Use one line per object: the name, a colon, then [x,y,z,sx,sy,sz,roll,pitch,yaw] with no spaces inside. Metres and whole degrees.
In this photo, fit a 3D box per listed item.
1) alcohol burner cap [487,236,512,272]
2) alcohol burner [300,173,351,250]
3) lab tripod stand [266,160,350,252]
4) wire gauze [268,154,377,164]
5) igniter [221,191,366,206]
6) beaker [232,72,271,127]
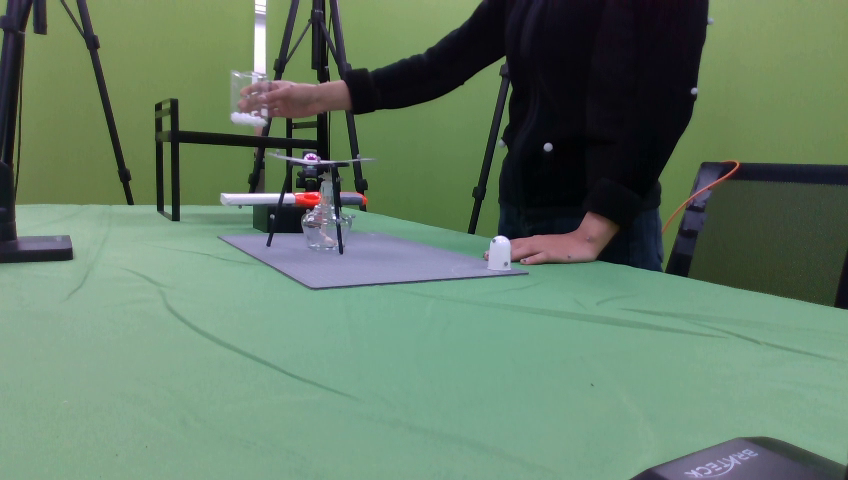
alcohol burner cap: [0.101,0.019,0.802,0.034,0.048,0.034,2,7,0]
alcohol burner: [-0.149,-0.044,0.921,0.078,0.119,0.078,4,7,0]
lab tripod stand: [-0.164,-0.054,0.915,0.148,0.131,0.148,2,9,0]
wire gauze: [-0.154,-0.120,0.910,0.122,0.011,0.124,-5,11,-44]
igniter: [-0.240,-0.079,1.150,0.278,0.025,0.057,-3,20,-32]
beaker: [-0.335,-0.270,1.167,0.074,0.100,0.084,4,9,2]
